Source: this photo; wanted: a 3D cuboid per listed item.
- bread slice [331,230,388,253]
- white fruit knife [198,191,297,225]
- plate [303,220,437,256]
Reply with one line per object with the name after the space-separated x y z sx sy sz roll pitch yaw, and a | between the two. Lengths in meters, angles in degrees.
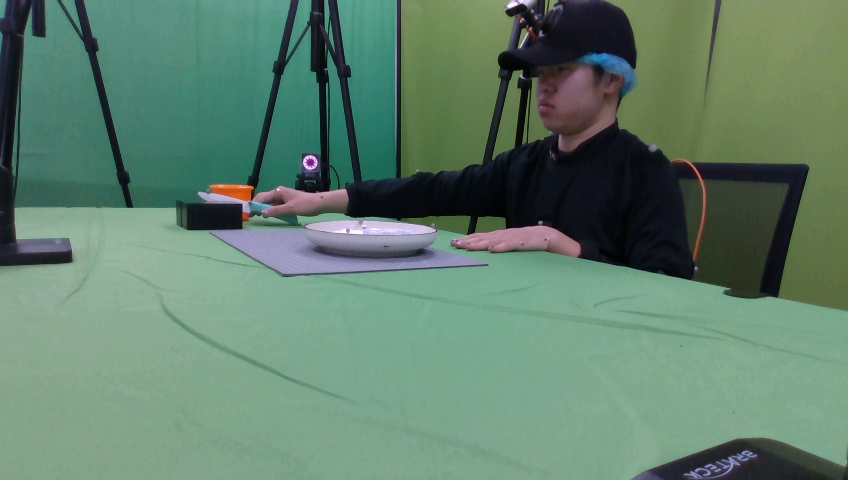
-0.088 0.000 0.947 0.105 0.019 0.131 -4 11 -45 | bread slice
-0.352 -0.067 1.225 0.208 0.027 0.016 15 -5 -33 | white fruit knife
-0.084 -0.003 0.951 0.209 0.038 0.209 3 7 0 | plate
